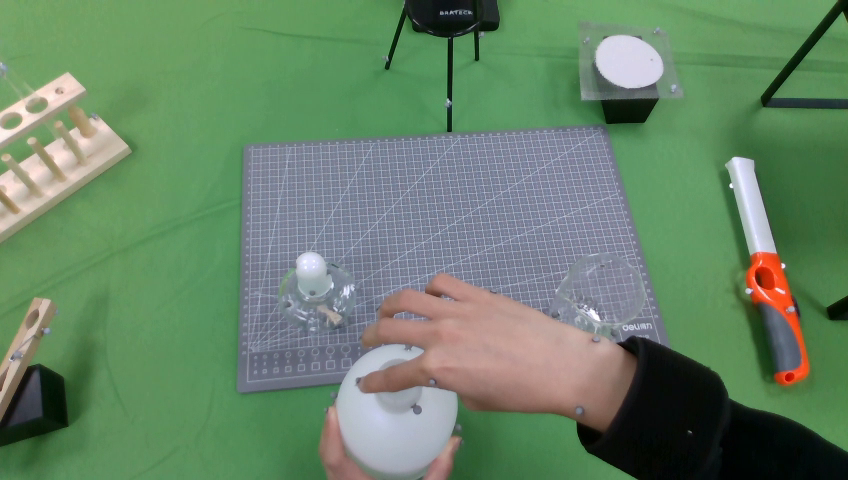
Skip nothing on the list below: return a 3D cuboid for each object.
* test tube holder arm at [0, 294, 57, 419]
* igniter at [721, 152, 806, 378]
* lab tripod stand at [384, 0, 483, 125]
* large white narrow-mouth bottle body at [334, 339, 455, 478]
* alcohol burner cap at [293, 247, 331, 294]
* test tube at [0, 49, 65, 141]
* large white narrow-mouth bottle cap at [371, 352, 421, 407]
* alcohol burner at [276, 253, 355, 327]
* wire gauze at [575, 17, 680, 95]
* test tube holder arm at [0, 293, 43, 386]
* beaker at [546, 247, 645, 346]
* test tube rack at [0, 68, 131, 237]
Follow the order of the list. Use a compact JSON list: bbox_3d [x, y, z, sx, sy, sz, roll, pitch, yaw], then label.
[{"bbox_3d":[-0.372,0.132,0.537,0.013,0.015,0.177,8,65,6],"label":"test tube holder arm"},{"bbox_3d":[0.382,0.020,0.687,0.057,0.025,0.274,6,64,-12],"label":"igniter"},{"bbox_3d":[0.020,-0.236,0.727,0.148,0.132,0.147,2,65,-4],"label":"lab tripod stand"},{"bbox_3d":[-0.025,0.139,0.511,0.102,0.196,0.101,1,64,-2],"label":"large white narrow-mouth bottle body"},{"bbox_3d":[-0.106,0.026,0.561,0.034,0.048,0.033,0,59,0],"label":"alcohol burner cap"},{"bbox_3d":[-0.412,-0.152,0.630,0.017,0.151,0.017,0,62,0],"label":"test tube"},{"bbox_3d":[-0.021,0.099,0.433,0.038,0.024,0.037,1,64,-3],"label":"large white narrow-mouth bottle cap"},{"bbox_3d":[-0.107,0.042,0.594,0.078,0.120,0.077,2,63,-4],"label":"alcohol burner"},{"bbox_3d":[0.249,-0.229,0.754,0.121,0.011,0.124,3,64,-2],"label":"wire gauze"},{"bbox_3d":[-0.370,0.091,0.557,0.010,0.015,0.087,7,65,6],"label":"test tube holder arm"},{"bbox_3d":[0.164,0.062,0.609,0.084,0.101,0.073,-3,64,-4],"label":"beaker"},{"bbox_3d":[-0.449,-0.071,0.643,0.066,0.086,0.242,42,69,15],"label":"test tube rack"}]
